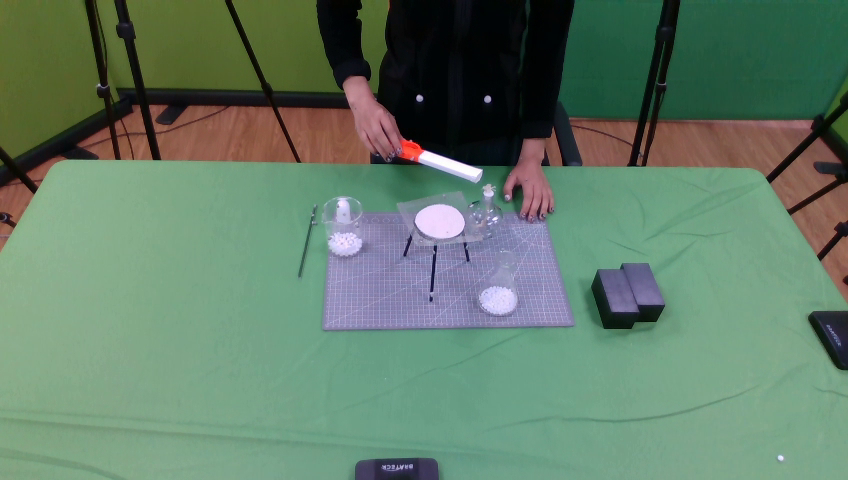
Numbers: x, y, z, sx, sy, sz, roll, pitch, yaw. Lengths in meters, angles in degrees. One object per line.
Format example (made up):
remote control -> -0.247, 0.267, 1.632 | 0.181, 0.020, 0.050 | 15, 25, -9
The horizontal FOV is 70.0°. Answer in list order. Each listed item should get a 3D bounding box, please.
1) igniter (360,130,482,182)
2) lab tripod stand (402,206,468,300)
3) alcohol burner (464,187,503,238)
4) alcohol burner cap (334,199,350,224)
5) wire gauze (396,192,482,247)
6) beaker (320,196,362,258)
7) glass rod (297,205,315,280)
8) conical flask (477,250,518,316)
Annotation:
igniter -> -0.014, -0.170, 1.201 | 0.275, 0.025, 0.057 | 22, 44, 22
lab tripod stand -> 0.023, 0.013, 1.108 | 0.148, 0.132, 0.147 | 3, 44, -2
alcohol burner -> 0.120, -0.061, 1.201 | 0.078, 0.119, 0.077 | 3, 47, -3
alcohol burner cap -> -0.167, -0.061, 1.228 | 0.034, 0.048, 0.033 | 2, 46, -2
wire gauze -> 0.025, -0.036, 1.061 | 0.125, 0.011, 0.120 | -9, 47, -14
beaker -> -0.156, -0.021, 1.150 | 0.084, 0.101, 0.073 | -30, 55, -28
glass rod -> -0.231, 0.001, 1.191 | 0.008, 0.008, 0.198 | 2, 46, -1
conical flask -> 0.137, 0.072, 1.067 | 0.075, 0.122, 0.075 | 2, 46, -2
